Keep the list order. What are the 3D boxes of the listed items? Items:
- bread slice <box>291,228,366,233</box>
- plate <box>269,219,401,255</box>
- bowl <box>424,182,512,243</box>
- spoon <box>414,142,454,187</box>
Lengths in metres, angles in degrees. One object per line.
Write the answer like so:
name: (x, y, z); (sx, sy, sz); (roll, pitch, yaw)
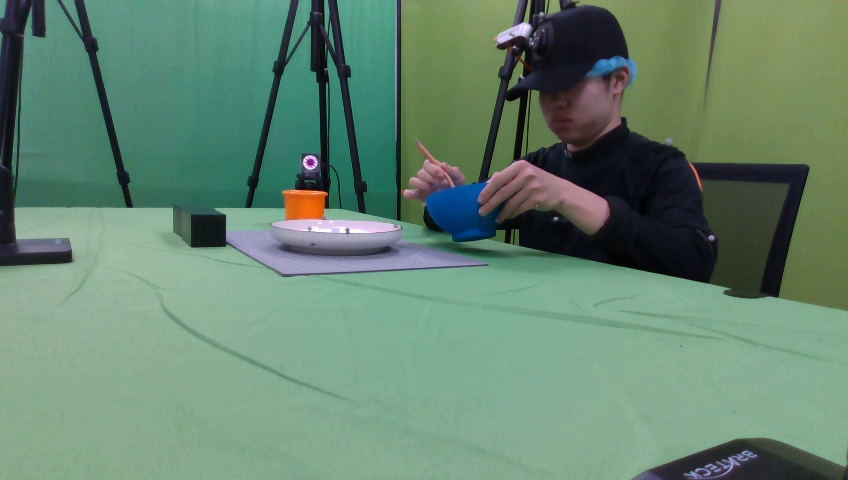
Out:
bread slice: (-0.143, -0.003, 0.953); (0.135, 0.018, 0.106); (-1, 8, -37)
plate: (-0.140, -0.006, 0.958); (0.209, 0.038, 0.209); (3, 7, 0)
bowl: (0.078, -0.040, 1.011); (0.151, 0.076, 0.151); (-7, -8, -1)
spoon: (0.042, -0.096, 1.031); (0.021, 0.193, 0.042); (-36, -14, 12)
